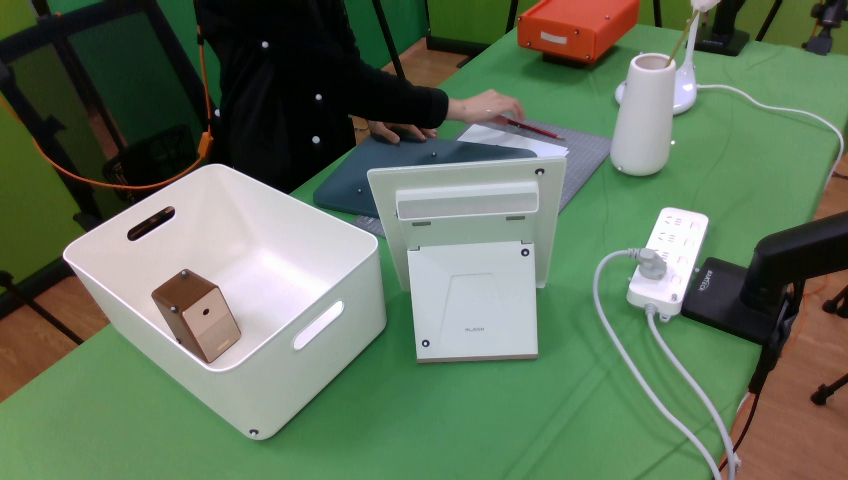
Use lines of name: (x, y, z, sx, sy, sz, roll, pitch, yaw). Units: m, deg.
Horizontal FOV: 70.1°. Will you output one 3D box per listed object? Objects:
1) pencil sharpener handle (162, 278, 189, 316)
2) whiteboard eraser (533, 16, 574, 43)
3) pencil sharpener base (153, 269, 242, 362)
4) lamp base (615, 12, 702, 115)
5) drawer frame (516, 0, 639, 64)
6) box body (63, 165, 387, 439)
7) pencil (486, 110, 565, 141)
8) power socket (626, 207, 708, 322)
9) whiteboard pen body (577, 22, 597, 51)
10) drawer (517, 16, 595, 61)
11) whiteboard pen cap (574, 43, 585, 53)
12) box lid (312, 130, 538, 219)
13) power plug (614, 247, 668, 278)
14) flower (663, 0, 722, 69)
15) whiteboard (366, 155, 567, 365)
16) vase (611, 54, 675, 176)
pencil sharpener handle: (-0.350, 0.077, 0.841, 0.030, 0.068, 0.036, 22, 47, 32)
whiteboard eraser: (0.305, -0.493, 1.423, 0.055, 0.042, 0.113, 26, 43, 25)
pencil sharpener base: (-0.308, 0.103, 0.824, 0.076, 0.107, 0.061, 22, 50, 32)
lamp base: (0.484, -0.363, 1.211, 0.180, 0.181, 0.159, -15, 41, -14)
drawer frame: (0.356, -0.507, 1.410, 0.200, 0.083, 0.214, 25, 51, 32)
box body: (-0.257, 0.068, 0.824, 0.361, 0.161, 0.255, 24, 49, 31)
pencil: (0.203, -0.232, 1.226, 0.192, 0.012, 0.012, 30, 52, 33)
power socket: (0.359, 0.026, 0.886, 0.072, 0.033, 0.227, 16, 46, 26)
whiteboard pen body: (0.372, -0.468, 1.390, 0.017, 0.017, 0.141, 14, 47, 23)
drawer: (0.352, -0.505, 1.404, 0.193, 0.073, 0.212, 25, 50, 33)
whiteboard pen cap: (0.346, -0.430, 1.350, 0.018, 0.018, 0.033, 15, 38, 24)
box lid: (0.007, -0.113, 1.114, 0.369, 0.015, 0.263, 11, 44, 21)
power plug: (0.306, 0.031, 0.851, 0.072, 0.053, 0.035, 24, 49, 33)
flower: (0.379, -0.261, 0.965, 0.044, 0.362, 0.038, 21, 53, 5)
whiteboard: (0.059, 0.050, 0.738, 0.217, 0.307, 0.143, -3, 60, 5)
vase: (0.377, -0.209, 1.031, 0.098, 0.201, 0.097, -4, 40, 3)
